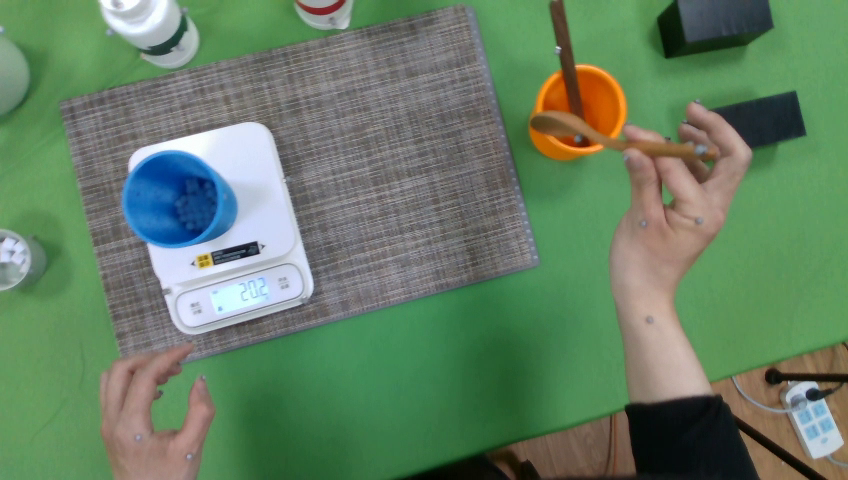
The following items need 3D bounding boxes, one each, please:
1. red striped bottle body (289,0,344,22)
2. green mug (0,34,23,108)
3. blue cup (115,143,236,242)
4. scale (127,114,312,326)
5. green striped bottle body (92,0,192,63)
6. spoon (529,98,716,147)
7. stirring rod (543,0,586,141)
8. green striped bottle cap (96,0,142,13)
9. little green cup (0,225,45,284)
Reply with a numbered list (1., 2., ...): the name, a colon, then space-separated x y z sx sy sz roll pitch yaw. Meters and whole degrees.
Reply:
1. red striped bottle body: -0.114 -0.271 0.606 0.063 0.119 0.063 0 88 -3
2. green mug: -0.470 -0.162 0.591 0.092 0.105 0.125 20 87 -2
3. blue cup: -0.220 -0.040 0.569 0.093 0.100 0.092 0 90 -3
4. scale: -0.212 -0.021 0.634 0.149 0.031 0.201 -16 90 -3
5. green striped bottle body: -0.278 -0.224 0.595 0.063 0.119 0.063 0 88 -3
6. spoon: 0.140 -0.086 0.457 0.042 0.192 0.021 24 98 -30
7. stirring rod: 0.142 -0.170 0.609 0.014 0.005 0.178 -29 132 -2
8. green striped bottle cap: -0.275 -0.227 0.540 0.044 0.020 0.044 0 88 -1
9. little green cup: -0.425 0.015 0.621 0.061 0.038 0.061 0 88 -4
